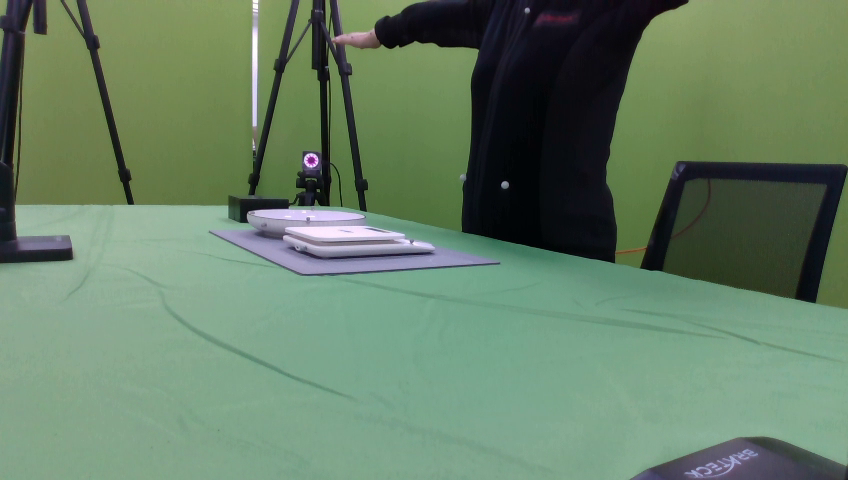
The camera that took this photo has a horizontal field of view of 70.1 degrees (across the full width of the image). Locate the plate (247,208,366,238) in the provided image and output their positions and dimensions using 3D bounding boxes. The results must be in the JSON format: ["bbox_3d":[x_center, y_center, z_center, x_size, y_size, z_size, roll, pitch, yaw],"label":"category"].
[{"bbox_3d":[-0.208,-0.030,1.082,0.209,0.038,0.209,2,7,0],"label":"plate"}]

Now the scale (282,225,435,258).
[{"bbox_3d":[-0.098,0.000,0.914,0.202,0.031,0.148,-2,9,-33],"label":"scale"}]
